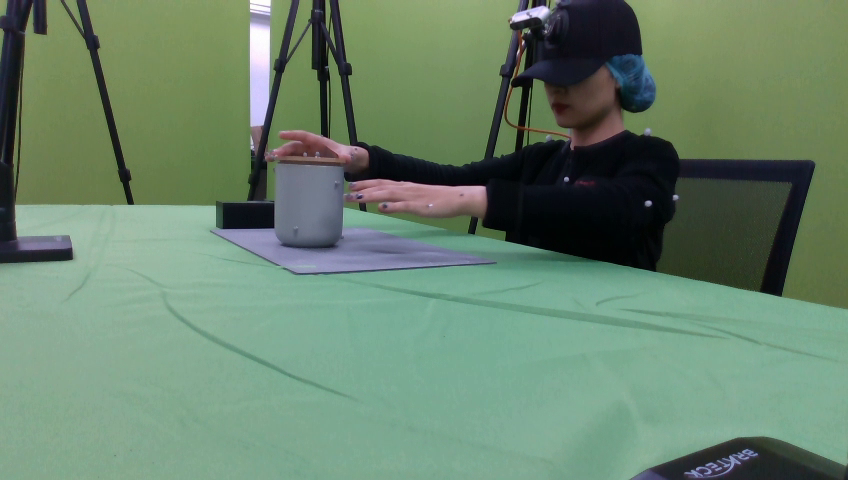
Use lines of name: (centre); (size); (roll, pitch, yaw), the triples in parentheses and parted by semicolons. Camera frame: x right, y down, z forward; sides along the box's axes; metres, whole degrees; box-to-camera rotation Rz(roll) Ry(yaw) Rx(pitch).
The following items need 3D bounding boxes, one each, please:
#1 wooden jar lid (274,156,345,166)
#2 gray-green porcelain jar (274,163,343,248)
wooden jar lid: (-0.177, -0.118, 0.936); (0.108, 0.020, 0.108); (2, 8, 0)
gray-green porcelain jar: (-0.180, -0.055, 0.945); (0.106, 0.126, 0.106); (2, 7, 0)
